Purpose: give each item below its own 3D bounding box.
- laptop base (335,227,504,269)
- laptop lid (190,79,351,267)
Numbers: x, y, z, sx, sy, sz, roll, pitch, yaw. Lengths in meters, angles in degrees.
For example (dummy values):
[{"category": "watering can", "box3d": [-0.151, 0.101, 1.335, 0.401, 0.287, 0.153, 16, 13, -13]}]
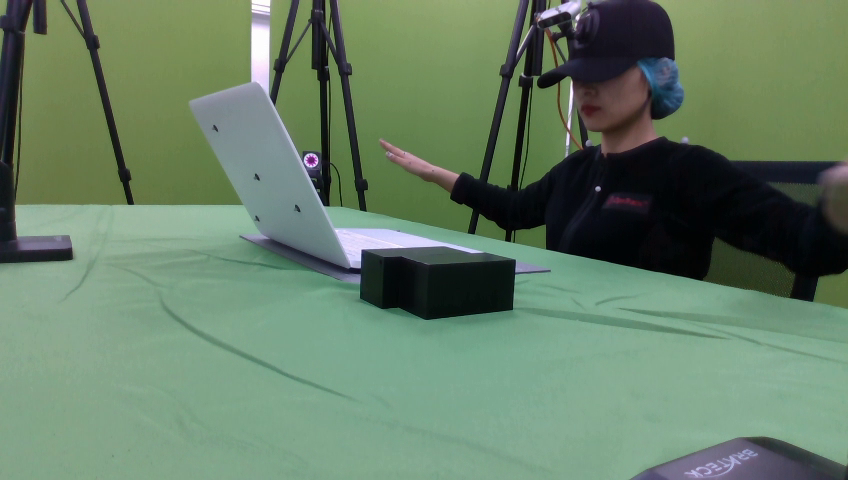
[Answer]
[{"category": "laptop base", "box3d": [-0.077, 0.009, 0.914, 0.237, 0.023, 0.352, 1, 7, -33]}, {"category": "laptop lid", "box3d": [-0.220, -0.087, 0.809, 0.013, 0.242, 0.355, -34, 25, -24]}]
